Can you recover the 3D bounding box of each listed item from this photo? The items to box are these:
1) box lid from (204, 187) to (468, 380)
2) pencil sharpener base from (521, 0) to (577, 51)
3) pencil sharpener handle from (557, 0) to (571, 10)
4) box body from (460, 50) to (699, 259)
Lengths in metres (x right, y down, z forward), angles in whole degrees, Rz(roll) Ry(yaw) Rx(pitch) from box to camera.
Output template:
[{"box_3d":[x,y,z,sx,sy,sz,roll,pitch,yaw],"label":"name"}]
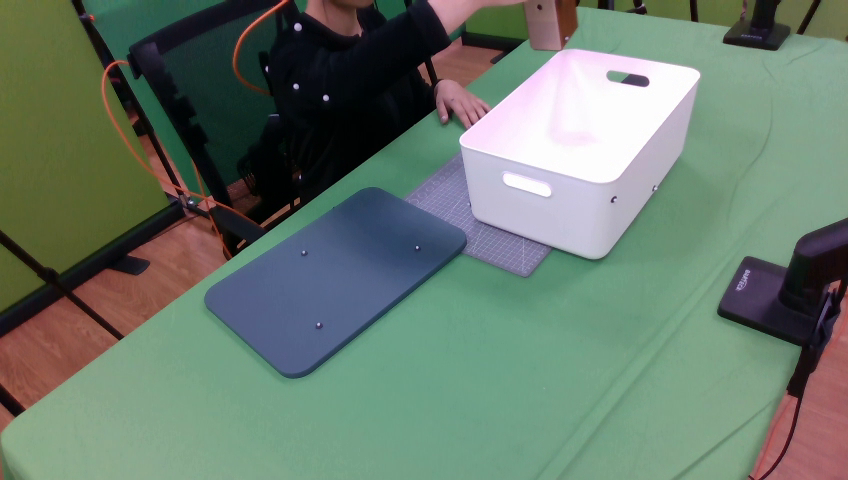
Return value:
[{"box_3d":[-0.135,0.044,0.963,0.261,0.015,0.373,29,53,36],"label":"box lid"},{"box_3d":[0.211,-0.383,1.012,0.061,0.108,0.077,14,55,32],"label":"pencil sharpener base"},{"box_3d":[0.234,-0.427,1.027,0.035,0.068,0.030,13,55,34],"label":"pencil sharpener handle"},{"box_3d":[0.261,-0.153,1.001,0.252,0.161,0.365,21,48,31],"label":"box body"}]
